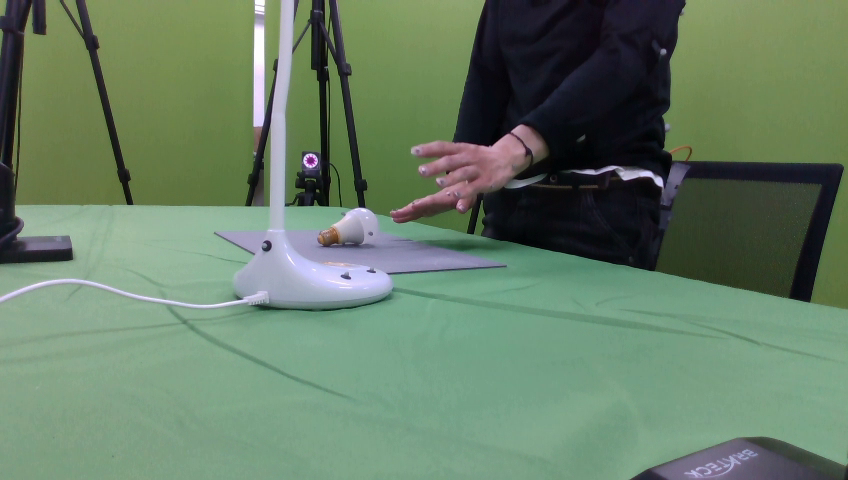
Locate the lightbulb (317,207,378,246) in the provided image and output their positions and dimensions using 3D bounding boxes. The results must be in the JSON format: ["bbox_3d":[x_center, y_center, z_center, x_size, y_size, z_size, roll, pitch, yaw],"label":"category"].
[{"bbox_3d":[-0.123,-0.016,0.968,0.108,0.059,0.059,-21,20,-33],"label":"lightbulb"}]

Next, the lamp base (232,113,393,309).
[{"bbox_3d":[-0.113,-0.032,0.595,0.160,0.180,0.179,4,10,17],"label":"lamp base"}]
